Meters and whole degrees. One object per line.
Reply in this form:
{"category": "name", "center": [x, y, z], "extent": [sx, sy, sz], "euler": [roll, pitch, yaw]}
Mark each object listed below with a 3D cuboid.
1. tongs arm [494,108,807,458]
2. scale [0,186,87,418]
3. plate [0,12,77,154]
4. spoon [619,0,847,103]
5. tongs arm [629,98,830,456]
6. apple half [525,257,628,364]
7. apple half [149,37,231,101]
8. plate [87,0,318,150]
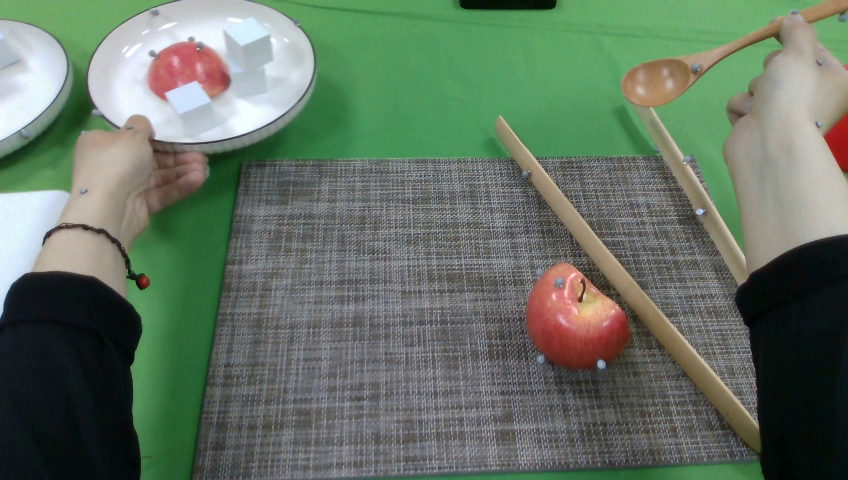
{"category": "tongs arm", "center": [0.168, 0.016, 0.523], "extent": [0.028, 0.028, 0.383], "euler": [-21, 60, -21]}
{"category": "scale", "center": [-0.358, 0.044, 0.478], "extent": [0.149, 0.032, 0.199], "euler": [-5, 57, -7]}
{"category": "plate", "center": [-0.449, -0.146, 0.597], "extent": [0.208, 0.039, 0.205], "euler": [2, 56, -2]}
{"category": "spoon", "center": [0.246, -0.154, 0.463], "extent": [0.193, 0.022, 0.041], "euler": [-22, 69, 19]}
{"category": "tongs arm", "center": [0.246, -0.006, 0.541], "extent": [0.051, 0.027, 0.381], "euler": [-11, 58, -11]}
{"category": "apple half", "center": [0.107, 0.062, 0.463], "extent": [0.053, 0.075, 0.080], "euler": [-36, 68, -19]}
{"category": "apple half", "center": [-0.225, -0.171, 0.581], "extent": [0.081, 0.033, 0.080], "euler": [1, 54, -2]}
{"category": "plate", "center": [-0.205, -0.160, 0.583], "extent": [0.209, 0.038, 0.207], "euler": [3, 56, -3]}
